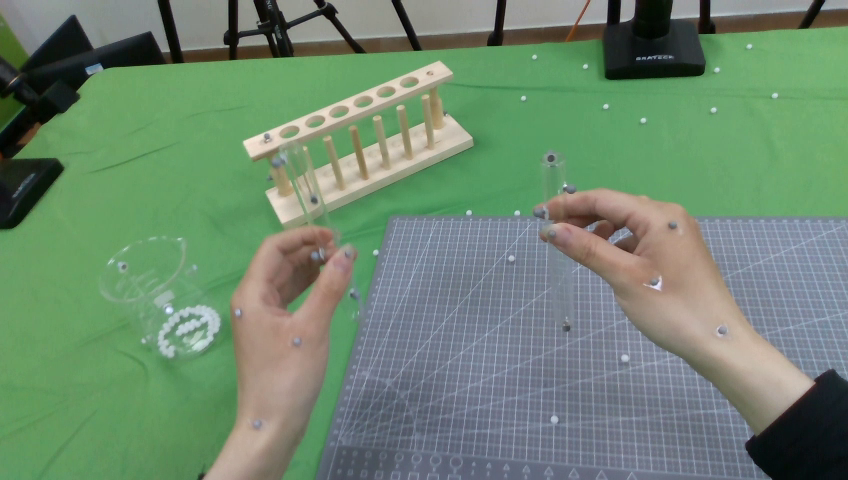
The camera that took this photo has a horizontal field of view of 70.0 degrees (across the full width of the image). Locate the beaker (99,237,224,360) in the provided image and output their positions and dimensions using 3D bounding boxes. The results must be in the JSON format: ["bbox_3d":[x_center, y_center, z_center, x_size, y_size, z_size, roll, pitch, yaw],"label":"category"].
[{"bbox_3d":[-0.233,0.056,0.558,0.073,0.101,0.084,24,55,29],"label":"beaker"}]

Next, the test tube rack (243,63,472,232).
[{"bbox_3d":[-0.069,-0.108,0.688,0.242,0.086,0.066,-26,48,-13],"label":"test tube rack"}]

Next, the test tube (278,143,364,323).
[{"bbox_3d":[-0.069,0.001,0.424,0.017,0.152,0.017,-11,34,8],"label":"test tube"}]

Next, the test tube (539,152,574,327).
[{"bbox_3d":[0.093,0.006,0.418,0.017,0.152,0.017,-9,38,7],"label":"test tube"}]
